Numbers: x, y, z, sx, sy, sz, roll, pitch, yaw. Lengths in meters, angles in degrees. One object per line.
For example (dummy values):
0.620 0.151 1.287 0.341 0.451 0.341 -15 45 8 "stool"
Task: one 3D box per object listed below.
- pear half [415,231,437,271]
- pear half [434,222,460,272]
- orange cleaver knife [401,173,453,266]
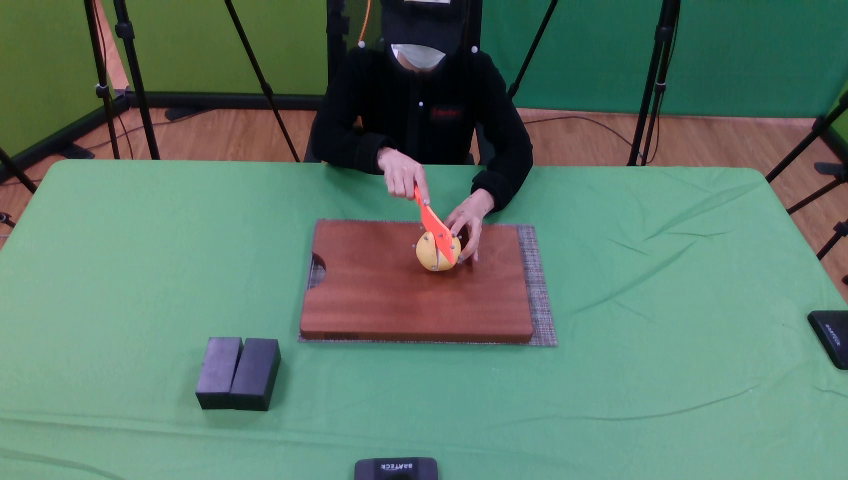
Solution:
0.000 0.021 1.094 0.031 0.088 0.070 -20 53 -14 "pear half"
0.039 0.005 1.097 0.056 0.110 0.076 -14 53 -18 "pear half"
0.005 -0.040 1.074 0.012 0.077 0.210 -17 46 -17 "orange cleaver knife"
